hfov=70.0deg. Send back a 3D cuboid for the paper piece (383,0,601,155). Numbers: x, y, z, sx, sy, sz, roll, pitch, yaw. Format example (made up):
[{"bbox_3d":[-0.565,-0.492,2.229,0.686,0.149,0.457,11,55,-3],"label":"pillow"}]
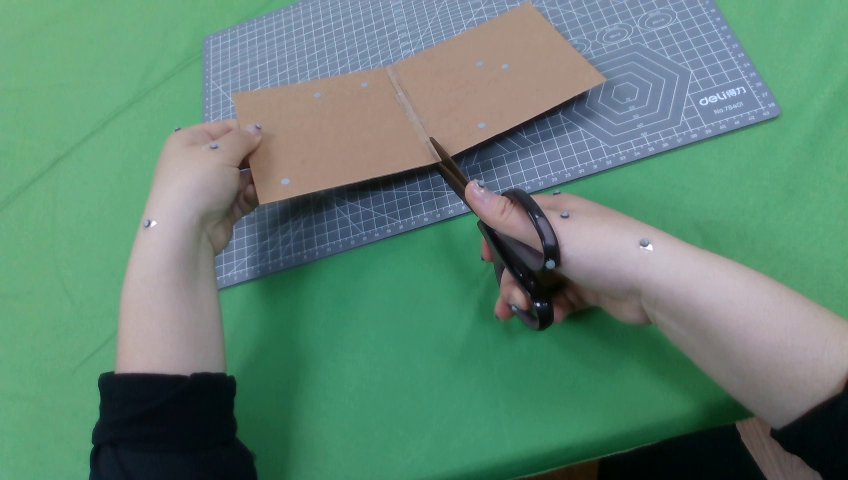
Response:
[{"bbox_3d":[0.047,-0.137,0.485,0.135,0.004,0.134,-26,51,0],"label":"paper piece"}]

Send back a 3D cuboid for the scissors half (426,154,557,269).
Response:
[{"bbox_3d":[0.035,-0.030,0.389,0.013,0.040,0.173,-21,28,-14],"label":"scissors half"}]

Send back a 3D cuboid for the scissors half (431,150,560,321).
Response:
[{"bbox_3d":[0.038,-0.014,0.404,0.013,0.040,0.173,-24,56,-10],"label":"scissors half"}]

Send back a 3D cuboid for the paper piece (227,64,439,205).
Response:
[{"bbox_3d":[-0.076,-0.089,0.470,0.138,0.009,0.134,-17,46,-10],"label":"paper piece"}]
